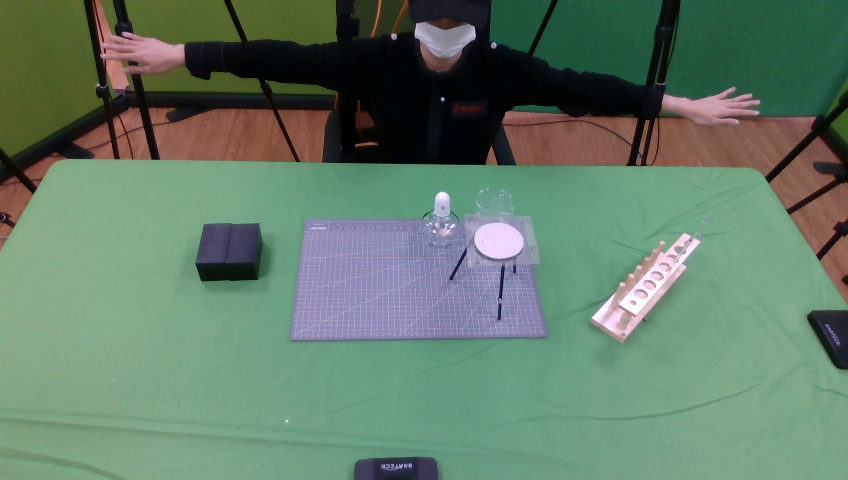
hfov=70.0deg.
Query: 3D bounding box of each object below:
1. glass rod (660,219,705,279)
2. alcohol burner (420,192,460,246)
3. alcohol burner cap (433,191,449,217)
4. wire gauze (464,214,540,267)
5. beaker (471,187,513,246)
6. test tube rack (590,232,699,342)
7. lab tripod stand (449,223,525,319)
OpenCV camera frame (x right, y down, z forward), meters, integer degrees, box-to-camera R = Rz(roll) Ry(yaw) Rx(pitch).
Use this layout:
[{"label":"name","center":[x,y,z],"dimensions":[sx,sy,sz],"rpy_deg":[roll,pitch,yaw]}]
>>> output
[{"label":"glass rod","center":[0.444,0.032,1.063],"dimensions":[0.008,0.200,0.008],"rpy_deg":[5,49,-6]},{"label":"alcohol burner","center":[0.032,-0.046,1.176],"dimensions":[0.078,0.120,0.077],"rpy_deg":[2,44,-1]},{"label":"alcohol burner cap","center":[0.033,-0.070,1.150],"dimensions":[0.034,0.048,0.033],"rpy_deg":[0,44,0]},{"label":"wire gauze","center":[0.131,-0.002,1.034],"dimensions":[0.121,0.011,0.124],"rpy_deg":[1,45,-2]},{"label":"beaker","center":[0.134,-0.042,1.190],"dimensions":[0.083,0.101,0.074],"rpy_deg":[34,53,25]},{"label":"test tube rack","center":[0.407,0.074,1.112],"dimensions":[0.066,0.085,0.242],"rpy_deg":[35,53,26]},{"label":"lab tripod stand","center":[0.120,0.046,1.080],"dimensions":[0.148,0.132,0.147],"rpy_deg":[1,47,-1]}]
